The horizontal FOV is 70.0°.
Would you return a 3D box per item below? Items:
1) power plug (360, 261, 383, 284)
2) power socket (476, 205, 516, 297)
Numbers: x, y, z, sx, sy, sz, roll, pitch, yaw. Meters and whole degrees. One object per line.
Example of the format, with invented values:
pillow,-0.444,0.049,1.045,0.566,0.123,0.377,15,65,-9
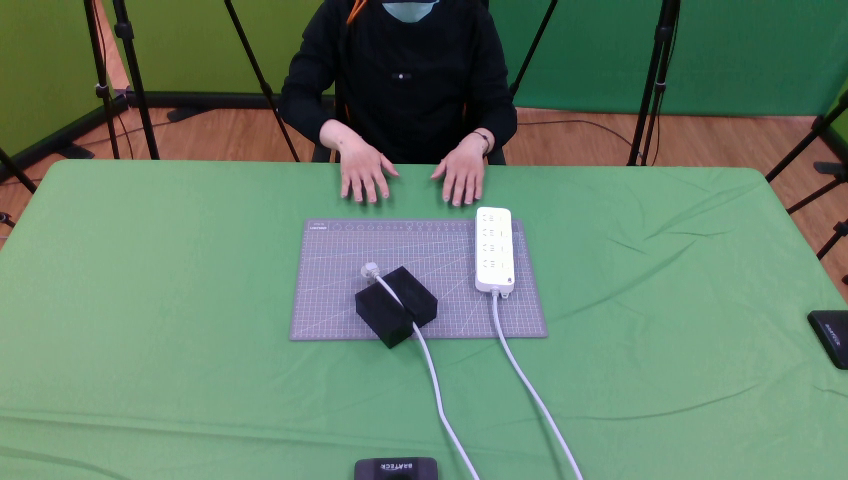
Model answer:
power plug,-0.094,0.068,1.092,0.035,0.053,0.072,-10,45,-6
power socket,0.139,0.013,1.178,0.072,0.033,0.225,4,47,2
